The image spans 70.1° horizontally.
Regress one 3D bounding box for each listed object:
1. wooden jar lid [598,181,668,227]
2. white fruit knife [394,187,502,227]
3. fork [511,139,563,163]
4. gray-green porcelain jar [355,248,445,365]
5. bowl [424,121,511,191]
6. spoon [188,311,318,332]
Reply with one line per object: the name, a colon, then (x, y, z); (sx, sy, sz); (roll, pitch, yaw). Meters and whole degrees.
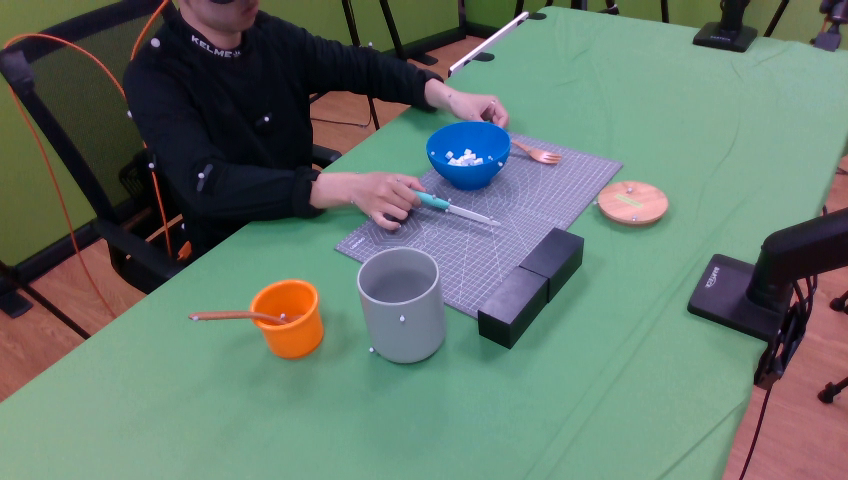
wooden jar lid: (0.340, -0.058, 0.988); (0.108, 0.021, 0.108); (-5, 41, 5)
white fruit knife: (0.037, -0.056, 1.006); (0.206, 0.027, 0.016); (19, 63, 24)
fork: (0.168, -0.185, 1.145); (0.206, 0.019, 0.028); (25, 89, 24)
gray-green porcelain jar: (-0.027, 0.091, 0.786); (0.106, 0.127, 0.105); (-4, 40, 4)
bowl: (0.081, -0.140, 1.074); (0.151, 0.077, 0.150); (-4, 40, 4)
spoon: (-0.216, 0.102, 0.783); (0.041, 0.195, 0.021); (26, 95, 39)
